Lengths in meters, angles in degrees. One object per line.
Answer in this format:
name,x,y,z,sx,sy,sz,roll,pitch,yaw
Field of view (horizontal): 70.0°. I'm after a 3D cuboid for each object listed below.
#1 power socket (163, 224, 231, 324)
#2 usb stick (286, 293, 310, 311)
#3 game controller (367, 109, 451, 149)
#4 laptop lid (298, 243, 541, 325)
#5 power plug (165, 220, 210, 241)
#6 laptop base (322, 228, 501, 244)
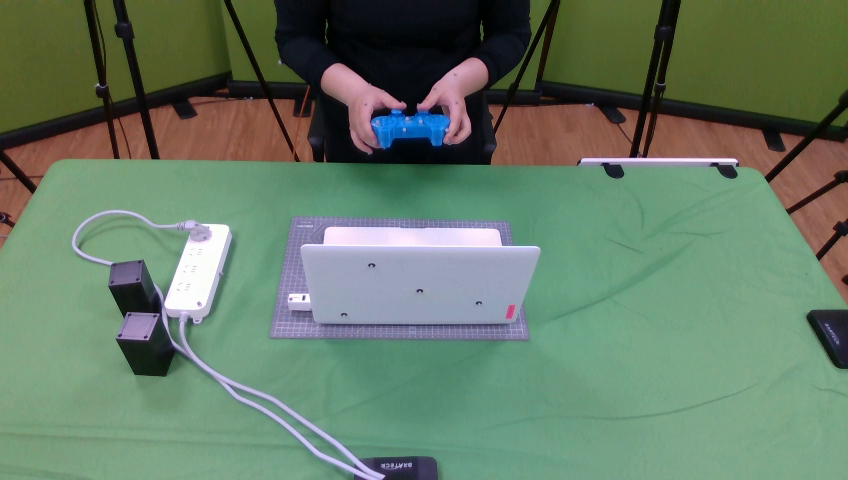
power socket,-0.410,0.052,1.107,0.072,0.033,0.225,3,46,-3
usb stick,-0.210,0.109,1.059,0.059,0.027,0.021,4,44,-6
game controller,-0.027,-0.207,1.095,0.155,0.052,0.096,-3,35,-2
laptop lid,-0.010,0.076,0.958,0.357,0.243,0.013,1,53,-5
power plug,-0.440,-0.016,1.143,0.072,0.053,0.035,7,46,8
laptop base,-0.020,0.063,1.136,0.355,0.023,0.234,0,43,-4
